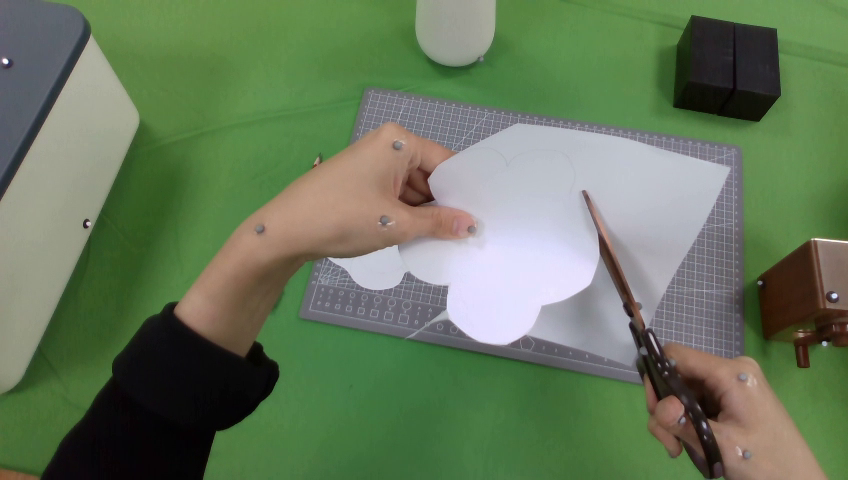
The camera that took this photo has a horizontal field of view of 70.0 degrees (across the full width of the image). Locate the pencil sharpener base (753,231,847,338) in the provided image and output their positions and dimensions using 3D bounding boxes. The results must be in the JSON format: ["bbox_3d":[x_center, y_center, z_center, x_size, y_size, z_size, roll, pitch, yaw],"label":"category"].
[{"bbox_3d":[0.373,0.049,0.582,0.061,0.108,0.076,6,67,3],"label":"pencil sharpener base"}]

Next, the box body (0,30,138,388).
[{"bbox_3d":[-0.479,-0.053,0.592,0.254,0.161,0.361,10,67,4],"label":"box body"}]

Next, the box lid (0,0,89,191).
[{"bbox_3d":[-0.479,-0.086,0.524,0.263,0.015,0.369,10,67,4],"label":"box lid"}]

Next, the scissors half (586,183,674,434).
[{"bbox_3d":[0.124,0.044,0.360,0.013,0.039,0.176,-23,112,5],"label":"scissors half"}]

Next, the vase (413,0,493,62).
[{"bbox_3d":[0.033,-0.296,0.679,0.098,0.201,0.097,0,65,1],"label":"vase"}]

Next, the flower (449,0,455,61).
[{"bbox_3d":[0.029,-0.343,0.608,0.044,0.365,0.038,3,49,5],"label":"flower"}]

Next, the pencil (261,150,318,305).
[{"bbox_3d":[-0.144,-0.020,0.663,0.012,0.012,0.193,11,65,5],"label":"pencil"}]

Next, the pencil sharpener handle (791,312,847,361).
[{"bbox_3d":[0.364,0.090,0.551,0.036,0.068,0.030,11,67,-10],"label":"pencil sharpener handle"}]

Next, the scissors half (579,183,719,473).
[{"bbox_3d":[0.123,0.048,0.338,0.013,0.040,0.174,-23,85,1],"label":"scissors half"}]
